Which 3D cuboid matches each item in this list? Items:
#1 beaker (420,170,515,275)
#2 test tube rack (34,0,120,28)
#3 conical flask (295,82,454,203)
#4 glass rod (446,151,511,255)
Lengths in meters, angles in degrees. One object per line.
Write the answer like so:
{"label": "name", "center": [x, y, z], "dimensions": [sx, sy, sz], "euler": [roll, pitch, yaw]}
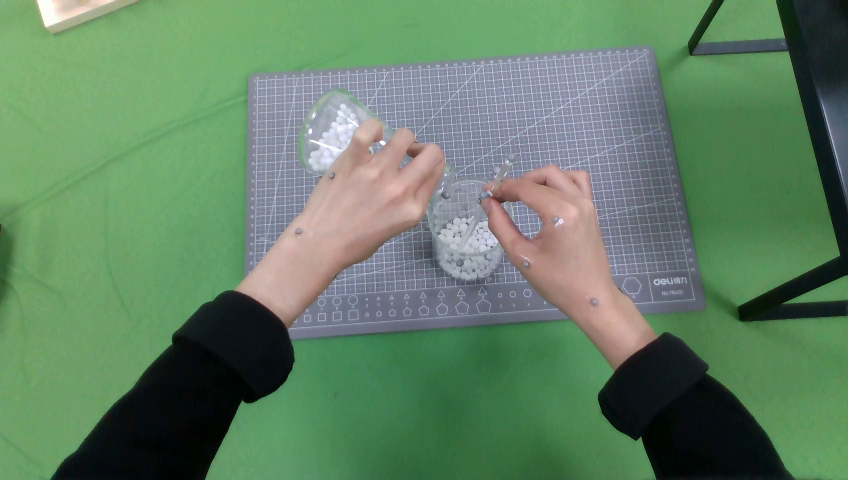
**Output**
{"label": "beaker", "center": [0.038, -0.012, 0.564], "dimensions": [0.084, 0.101, 0.073], "euler": [19, 74, 8]}
{"label": "test tube rack", "center": [-0.340, -0.335, 0.680], "dimensions": [0.242, 0.085, 0.066], "euler": [-24, 74, -6]}
{"label": "conical flask", "center": [-0.037, -0.073, 0.496], "dimensions": [0.121, 0.075, 0.075], "euler": [26, 75, 7]}
{"label": "glass rod", "center": [0.041, -0.024, 0.510], "dimensions": [0.008, 0.200, 0.008], "euler": [4, 68, -9]}
